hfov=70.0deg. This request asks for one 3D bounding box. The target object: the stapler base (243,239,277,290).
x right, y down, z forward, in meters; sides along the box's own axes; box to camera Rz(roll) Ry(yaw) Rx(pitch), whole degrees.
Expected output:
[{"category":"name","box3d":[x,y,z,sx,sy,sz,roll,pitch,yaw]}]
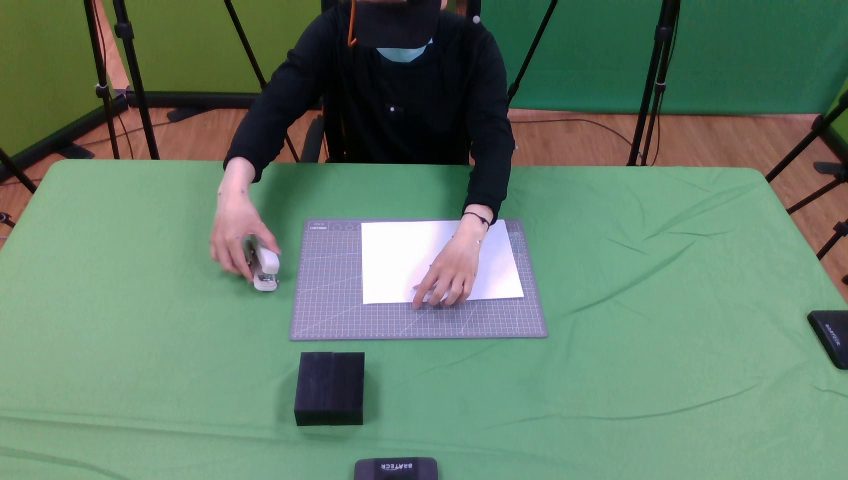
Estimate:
[{"category":"stapler base","box3d":[-0.302,0.038,1.126,0.041,0.024,0.129,6,37,-36]}]

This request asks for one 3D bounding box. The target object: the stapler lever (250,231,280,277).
[{"category":"stapler lever","box3d":[-0.293,0.019,1.114,0.027,0.040,0.117,6,39,-36]}]
